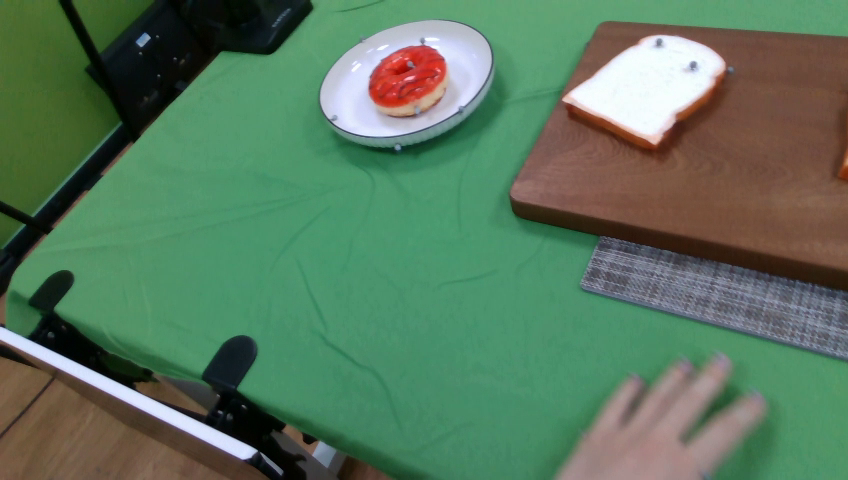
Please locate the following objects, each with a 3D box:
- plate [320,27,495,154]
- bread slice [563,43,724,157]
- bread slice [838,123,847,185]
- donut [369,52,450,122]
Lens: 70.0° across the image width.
[{"bbox_3d":[-0.018,-0.172,0.706,0.209,0.038,0.207,-9,50,12],"label":"plate"},{"bbox_3d":[0.215,-0.140,0.579,0.134,0.018,0.106,-43,52,-16],"label":"bread slice"},{"bbox_3d":[0.393,-0.089,0.478,0.104,0.019,0.131,12,58,25],"label":"bread slice"},{"bbox_3d":[-0.018,-0.176,0.695,0.099,0.049,0.098,-11,50,13],"label":"donut"}]
